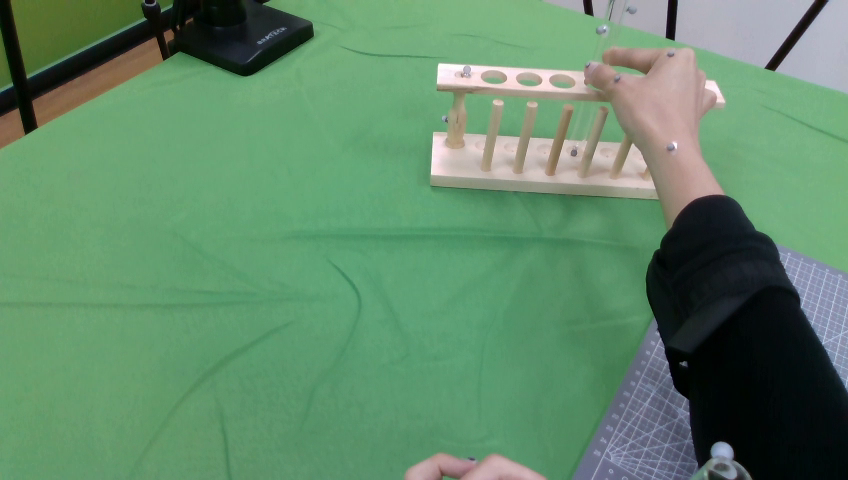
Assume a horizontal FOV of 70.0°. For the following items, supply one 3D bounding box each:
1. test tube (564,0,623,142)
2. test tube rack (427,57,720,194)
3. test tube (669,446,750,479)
[{"bbox_3d":[0.143,-0.149,0.511,0.017,0.151,0.017,4,41,-3],"label":"test tube"},{"bbox_3d":[0.126,-0.100,0.535,0.242,0.086,0.066,3,47,-1],"label":"test tube rack"},{"bbox_3d":[0.079,0.117,0.232,0.017,0.151,0.017,5,47,-5],"label":"test tube"}]
